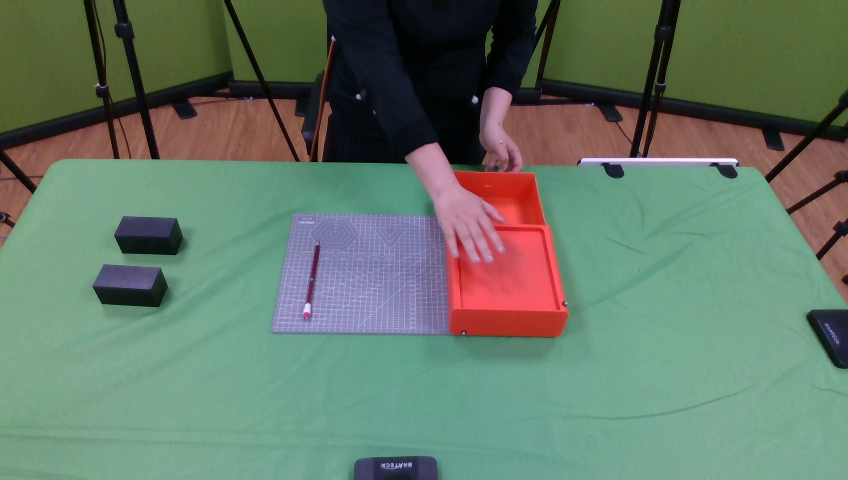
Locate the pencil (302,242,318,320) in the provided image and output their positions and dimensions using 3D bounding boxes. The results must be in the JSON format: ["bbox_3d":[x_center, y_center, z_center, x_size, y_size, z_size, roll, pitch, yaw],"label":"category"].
[{"bbox_3d":[-0.209,0.070,1.119,0.012,0.012,0.193,2,44,-2],"label":"pencil"}]

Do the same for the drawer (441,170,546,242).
[{"bbox_3d":[0.137,-0.048,1.214,0.195,0.073,0.210,2,44,-4],"label":"drawer"}]

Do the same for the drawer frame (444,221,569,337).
[{"bbox_3d":[0.141,0.067,1.097,0.202,0.083,0.212,2,46,-4],"label":"drawer frame"}]
